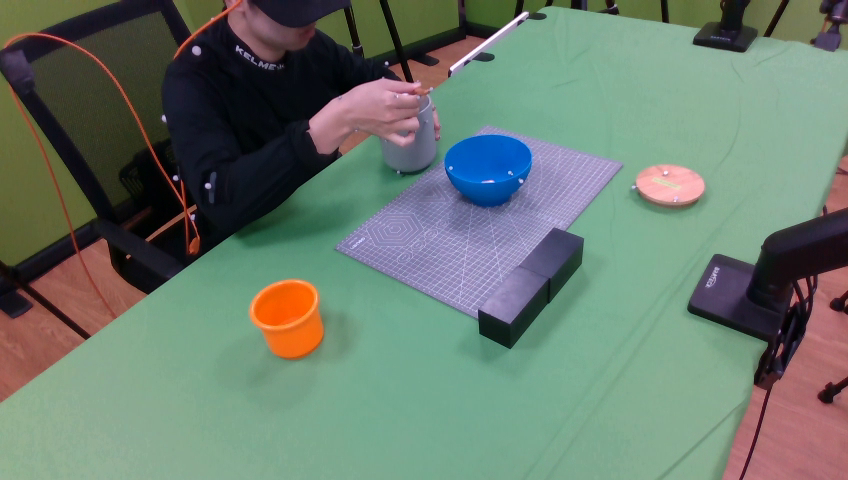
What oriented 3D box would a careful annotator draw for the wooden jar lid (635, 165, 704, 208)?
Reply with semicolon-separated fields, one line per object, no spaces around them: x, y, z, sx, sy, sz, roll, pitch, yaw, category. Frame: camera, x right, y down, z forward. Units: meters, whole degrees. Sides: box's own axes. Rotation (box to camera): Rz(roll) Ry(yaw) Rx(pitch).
0.411;-0.089;1.014;0.108;0.021;0.108;-5;41;5;wooden jar lid

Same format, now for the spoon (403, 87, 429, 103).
-0.011;-0.235;0.970;0.042;0.021;0.193;-16;10;-2;spoon

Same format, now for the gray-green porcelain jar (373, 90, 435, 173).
-0.034;-0.198;1.125;0.106;0.127;0.105;-4;40;4;gray-green porcelain jar

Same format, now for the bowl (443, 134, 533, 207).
0.111;-0.109;1.033;0.151;0.077;0.150;-4;40;4;bowl
